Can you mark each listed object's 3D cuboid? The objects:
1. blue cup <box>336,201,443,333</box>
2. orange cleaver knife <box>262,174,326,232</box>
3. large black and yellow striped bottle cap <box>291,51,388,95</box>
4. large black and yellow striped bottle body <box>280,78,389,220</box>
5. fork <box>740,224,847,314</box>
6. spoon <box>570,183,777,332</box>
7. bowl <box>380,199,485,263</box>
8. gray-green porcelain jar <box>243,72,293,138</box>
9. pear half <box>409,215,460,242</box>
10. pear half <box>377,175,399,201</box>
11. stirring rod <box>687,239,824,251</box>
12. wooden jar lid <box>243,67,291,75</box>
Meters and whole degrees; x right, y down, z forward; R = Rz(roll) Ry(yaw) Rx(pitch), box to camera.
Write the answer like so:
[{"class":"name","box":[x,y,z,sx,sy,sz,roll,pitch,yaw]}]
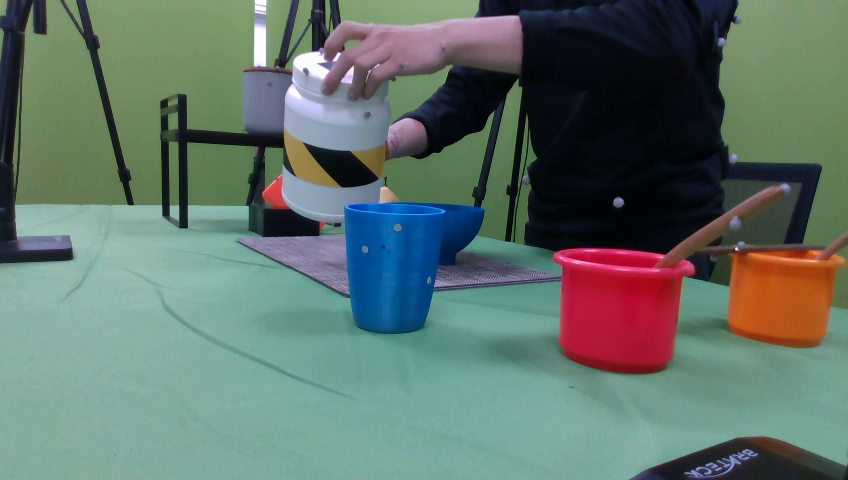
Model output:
[{"class":"blue cup","box":[-0.029,0.021,0.507,0.093,0.100,0.092,3,9,0]},{"class":"orange cleaver knife","box":[-0.201,-0.056,1.136,0.212,0.077,0.012,31,-4,-31]},{"class":"large black and yellow striped bottle cap","box":[-0.102,-0.203,0.731,0.115,0.019,0.115,8,32,-5]},{"class":"large black and yellow striped bottle body","box":[-0.114,-0.132,0.774,0.131,0.184,0.130,8,31,-4]},{"class":"fork","box":[0.323,0.013,0.485,0.028,0.018,0.207,9,-38,-5]},{"class":"spoon","box":[0.160,0.020,0.413,0.042,0.021,0.193,0,-36,-24]},{"class":"bowl","box":[0.008,-0.013,0.842,0.151,0.077,0.151,2,8,0]},{"class":"gray-green porcelain jar","box":[-0.322,-0.279,1.263,0.106,0.126,0.106,3,8,0]},{"class":"pear half","box":[0.012,-0.019,0.848,0.070,0.031,0.088,3,11,33]},{"class":"pear half","box":[-0.064,-0.061,1.077,0.055,0.110,0.077,9,14,39]},{"class":"stirring rod","box":[0.289,0.004,0.525,0.177,0.006,0.014,-1,8,-26]},{"class":"wooden jar lid","box":[-0.319,-0.342,1.254,0.108,0.020,0.108,3,8,0]}]
